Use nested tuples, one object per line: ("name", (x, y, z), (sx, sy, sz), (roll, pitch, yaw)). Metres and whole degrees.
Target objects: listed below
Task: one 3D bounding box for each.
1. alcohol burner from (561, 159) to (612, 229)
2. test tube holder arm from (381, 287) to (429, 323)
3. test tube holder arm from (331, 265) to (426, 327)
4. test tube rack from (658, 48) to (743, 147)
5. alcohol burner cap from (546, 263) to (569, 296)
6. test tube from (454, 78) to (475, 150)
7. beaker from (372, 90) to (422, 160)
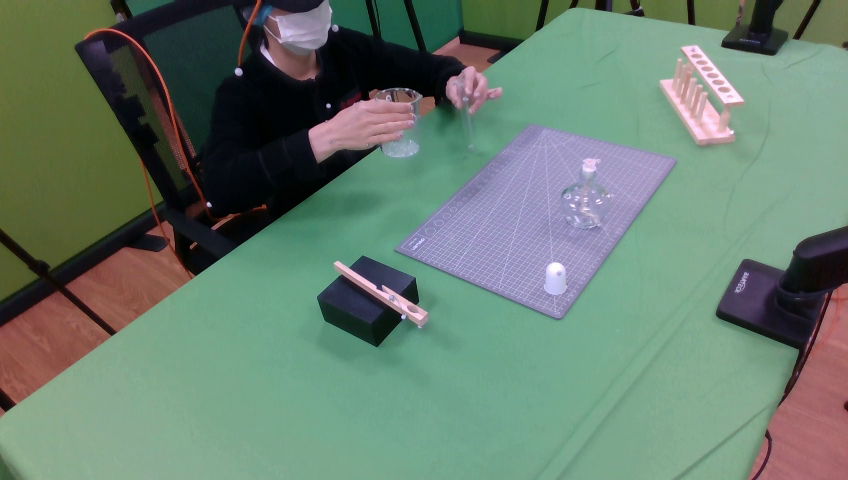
("alcohol burner", (0.257, -0.077, 0.951), (0.078, 0.119, 0.077), (-3, 40, 3))
("test tube holder arm", (-0.028, 0.087, 0.807), (0.087, 0.015, 0.010), (25, 42, 33))
("test tube holder arm", (-0.066, 0.074, 0.828), (0.177, 0.015, 0.013), (25, 42, 33))
("test tube rack", (0.532, -0.284, 1.181), (0.067, 0.085, 0.241), (-5, 40, 4))
("alcohol burner cap", (0.191, 0.053, 0.862), (0.034, 0.048, 0.033), (-5, 40, 4))
("test tube", (0.075, -0.228, 1.108), (0.017, 0.151, 0.017), (-9, 44, 9))
("beaker", (-0.041, -0.192, 1.015), (0.084, 0.100, 0.073), (-14, 35, -15))
